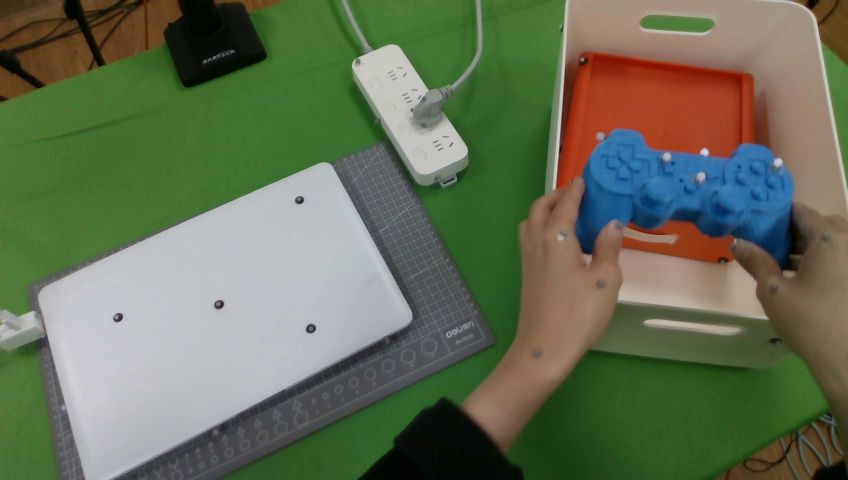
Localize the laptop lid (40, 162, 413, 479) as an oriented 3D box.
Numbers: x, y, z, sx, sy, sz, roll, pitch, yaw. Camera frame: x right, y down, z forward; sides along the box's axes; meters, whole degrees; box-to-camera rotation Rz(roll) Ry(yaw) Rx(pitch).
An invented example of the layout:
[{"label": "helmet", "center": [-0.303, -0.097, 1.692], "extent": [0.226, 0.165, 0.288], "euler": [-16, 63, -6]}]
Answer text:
[{"label": "laptop lid", "center": [-0.216, 0.071, 0.653], "extent": [0.357, 0.013, 0.239], "euler": [-25, 67, -9]}]

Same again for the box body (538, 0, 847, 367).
[{"label": "box body", "center": [0.255, -0.065, 0.630], "extent": [0.254, 0.161, 0.361], "euler": [6, 63, 6]}]

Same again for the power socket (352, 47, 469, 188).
[{"label": "power socket", "center": [-0.020, -0.160, 0.766], "extent": [0.072, 0.033, 0.224], "euler": [-25, 64, -11]}]

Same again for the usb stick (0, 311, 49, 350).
[{"label": "usb stick", "center": [-0.424, 0.094, 0.650], "extent": [0.059, 0.027, 0.021], "euler": [-22, 58, -12]}]

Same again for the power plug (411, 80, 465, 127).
[{"label": "power plug", "center": [0.020, -0.158, 0.738], "extent": [0.072, 0.053, 0.035], "euler": [-15, 62, -6]}]

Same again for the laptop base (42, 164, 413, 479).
[{"label": "laptop base", "center": [-0.217, 0.074, 0.664], "extent": [0.354, 0.023, 0.233], "euler": [-26, 68, -10]}]

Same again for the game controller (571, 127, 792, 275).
[{"label": "game controller", "center": [0.191, -0.033, 0.444], "extent": [0.155, 0.052, 0.096], "euler": [8, 66, 5]}]
